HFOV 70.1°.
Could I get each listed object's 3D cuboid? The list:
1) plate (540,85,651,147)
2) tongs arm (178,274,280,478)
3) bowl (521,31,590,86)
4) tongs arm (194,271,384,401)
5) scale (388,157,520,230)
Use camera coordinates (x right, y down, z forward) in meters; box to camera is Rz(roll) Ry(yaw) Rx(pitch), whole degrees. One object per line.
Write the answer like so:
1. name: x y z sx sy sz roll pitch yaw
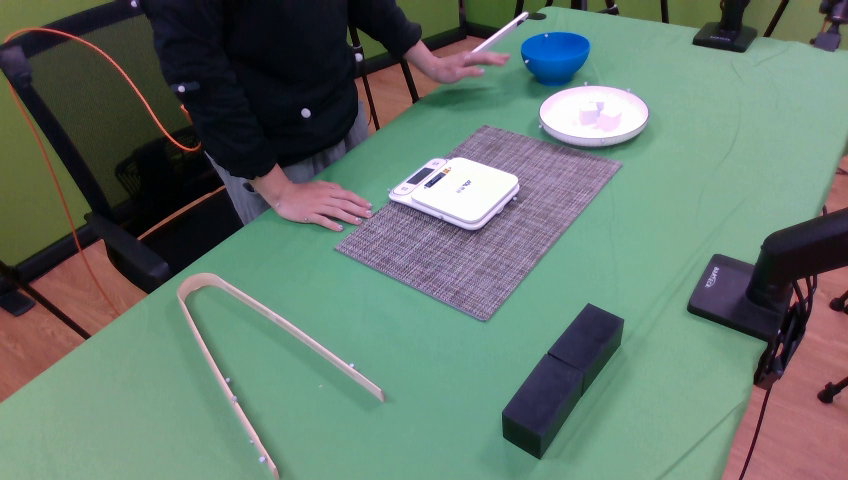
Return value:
1. plate: 0.333 -0.238 1.186 0.207 0.039 0.206 -4 41 4
2. tongs arm: -0.260 0.161 0.806 0.051 0.026 0.381 -29 45 -24
3. bowl: 0.290 -0.395 1.341 0.151 0.077 0.150 -4 40 4
4. tongs arm: -0.199 0.124 0.846 0.384 0.028 0.028 25 53 32
5. scale: 0.050 -0.090 1.052 0.199 0.032 0.149 24 49 31
